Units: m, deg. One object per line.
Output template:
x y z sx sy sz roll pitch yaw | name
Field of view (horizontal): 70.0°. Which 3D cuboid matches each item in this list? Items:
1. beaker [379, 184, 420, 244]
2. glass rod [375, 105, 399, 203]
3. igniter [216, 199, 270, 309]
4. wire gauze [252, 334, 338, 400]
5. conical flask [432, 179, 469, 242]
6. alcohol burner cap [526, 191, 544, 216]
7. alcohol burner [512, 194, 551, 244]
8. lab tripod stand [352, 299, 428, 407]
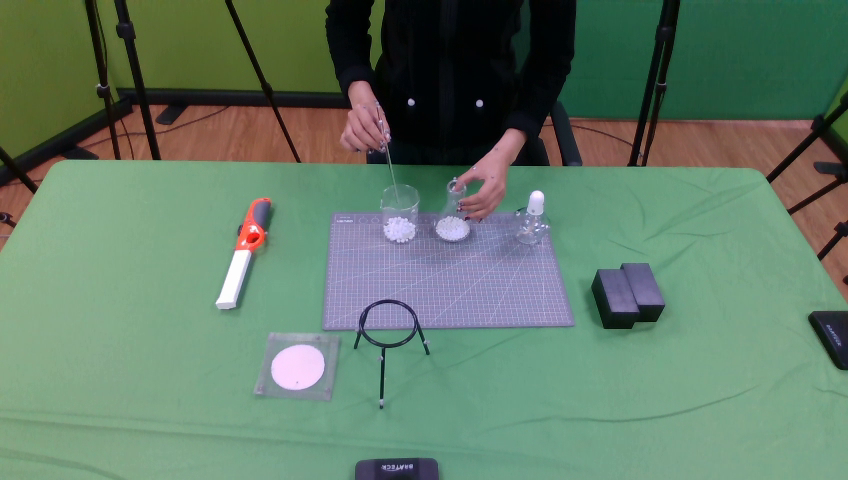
-0.051 -0.047 1.184 0.084 0.101 0.073 -27 53 -26 | beaker
-0.066 -0.152 1.110 0.008 0.201 0.008 -8 34 5 | glass rod
-0.342 0.016 1.153 0.057 0.025 0.275 -3 45 7 | igniter
-0.209 0.204 0.996 0.125 0.011 0.120 3 45 1 | wire gauze
0.057 -0.060 1.181 0.075 0.122 0.075 2 47 -2 | conical flask
0.216 -0.073 1.170 0.034 0.048 0.033 -1 42 1 | alcohol burner cap
0.215 -0.048 1.196 0.078 0.119 0.077 4 46 -4 | alcohol burner
-0.056 0.166 0.958 0.148 0.132 0.147 3 44 -2 | lab tripod stand
